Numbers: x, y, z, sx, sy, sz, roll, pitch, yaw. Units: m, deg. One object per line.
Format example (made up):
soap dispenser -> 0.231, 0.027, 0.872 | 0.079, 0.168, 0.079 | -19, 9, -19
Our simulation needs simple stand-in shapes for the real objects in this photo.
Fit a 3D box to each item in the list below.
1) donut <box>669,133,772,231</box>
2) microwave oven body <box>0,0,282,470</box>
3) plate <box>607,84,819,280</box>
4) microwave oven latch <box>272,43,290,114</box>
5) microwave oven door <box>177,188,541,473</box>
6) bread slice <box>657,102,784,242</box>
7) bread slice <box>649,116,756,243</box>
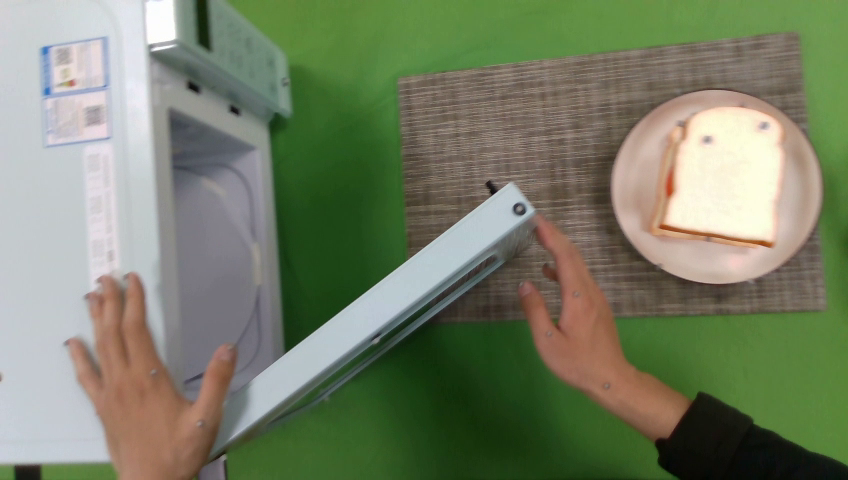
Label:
donut -> 0.299, -0.059, 0.617 | 0.099, 0.048, 0.099 | 0, 90, 4
microwave oven body -> -0.331, -0.011, 0.655 | 0.325, 0.261, 0.441 | -6, 87, 10
plate -> 0.302, -0.060, 0.649 | 0.207, 0.039, 0.207 | -1, 87, 11
microwave oven latch -> -0.181, -0.195, 0.734 | 0.030, 0.029, 0.079 | -5, 87, 10
microwave oven door -> -0.039, 0.081, 0.591 | 0.356, 0.244, 0.039 | -38, 80, 7
bread slice -> 0.293, -0.070, 0.593 | 0.104, 0.019, 0.131 | 9, 87, 17
bread slice -> 0.301, -0.067, 0.649 | 0.107, 0.018, 0.134 | 5, 88, 10
